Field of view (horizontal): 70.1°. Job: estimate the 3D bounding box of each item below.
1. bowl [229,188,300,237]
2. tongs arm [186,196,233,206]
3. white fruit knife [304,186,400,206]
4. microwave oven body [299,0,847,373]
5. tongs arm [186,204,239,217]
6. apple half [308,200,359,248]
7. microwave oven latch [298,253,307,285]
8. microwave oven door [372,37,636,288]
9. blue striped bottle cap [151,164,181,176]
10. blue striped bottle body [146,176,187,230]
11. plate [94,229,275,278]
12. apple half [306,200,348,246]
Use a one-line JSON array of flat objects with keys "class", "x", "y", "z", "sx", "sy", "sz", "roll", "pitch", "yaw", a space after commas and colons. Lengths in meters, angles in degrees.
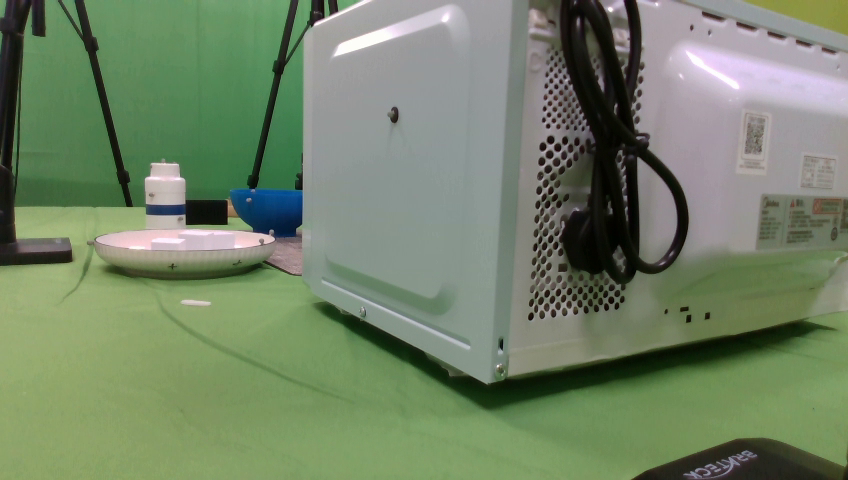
[{"class": "bowl", "x": -0.265, "y": -0.048, "z": 1.066, "sx": 0.151, "sy": 0.077, "sz": 0.151, "roll": 3, "pitch": 8, "yaw": 0}, {"class": "tongs arm", "x": -0.404, "y": -0.081, "z": 1.479, "sx": 0.385, "sy": 0.026, "sz": 0.050, "roll": 3, "pitch": 8, "yaw": -2}, {"class": "white fruit knife", "x": -0.112, "y": -0.075, "z": 0.992, "sx": 0.016, "sy": 0.027, "sz": 0.208, "roll": 9, "pitch": 5, "yaw": 41}, {"class": "microwave oven body", "x": 0.151, "y": -0.055, "z": 0.542, "sx": 0.444, "sy": 0.260, "sz": 0.324, "roll": -2, "pitch": 7, "yaw": -33}, {"class": "tongs arm", "x": -0.396, "y": -0.067, "z": 1.399, "sx": 0.389, "sy": 0.028, "sz": 0.028, "roll": 1, "pitch": 5, "yaw": -15}, {"class": "apple half", "x": -0.134, "y": -0.023, "z": 0.938, "sx": 0.081, "sy": 0.074, "sz": 0.053, "roll": 1, "pitch": 11, "yaw": -44}, {"class": "microwave oven latch", "x": -0.081, "y": 0.027, "z": 0.582, "sx": 0.079, "sy": 0.029, "sz": 0.030, "roll": -2, "pitch": 7, "yaw": -32}, {"class": "microwave oven door", "x": 0.110, "y": -0.080, "z": 0.686, "sx": 0.358, "sy": 0.243, "sz": 0.039, "roll": -2, "pitch": 9, "yaw": -33}, {"class": "blue striped bottle cap", "x": -0.428, "y": -0.116, "z": 1.002, "sx": 0.044, "sy": 0.020, "sz": 0.044, "roll": 1, "pitch": 6, "yaw": 0}, {"class": "blue striped bottle body", "x": -0.430, "y": -0.065, "z": 1.010, "sx": 0.063, "sy": 0.120, "sz": 0.063, "roll": 2, "pitch": 7, "yaw": 0}, {"class": "plate", "x": -0.291, "y": 0.016, "z": 0.750, "sx": 0.208, "sy": 0.039, "sz": 0.207, "roll": 2, "pitch": 7, "yaw": 0}, {"class": "apple half", "x": -0.161, "y": -0.029, "z": 0.966, "sx": 0.082, "sy": 0.081, "sz": 0.032, "roll": -5, "pitch": 14, "yaw": -45}]
